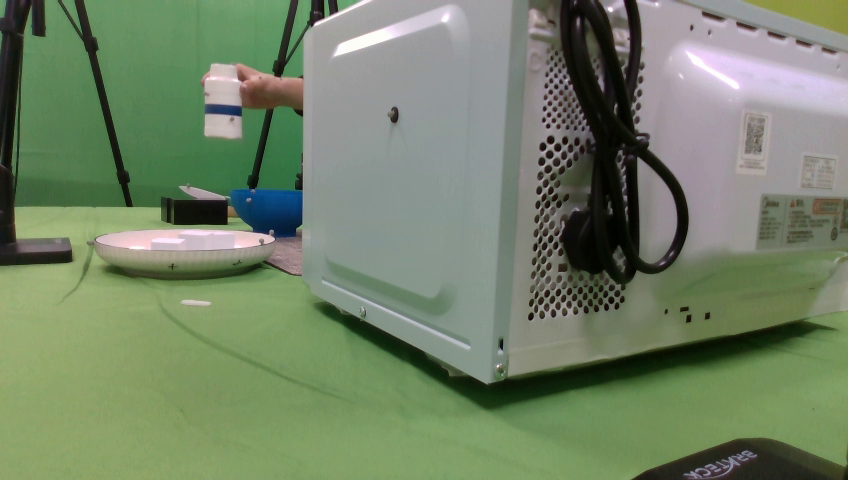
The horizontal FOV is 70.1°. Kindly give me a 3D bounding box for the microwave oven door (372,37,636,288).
[{"bbox_3d":[0.110,-0.080,0.686,0.358,0.243,0.039,-2,9,-33],"label":"microwave oven door"}]

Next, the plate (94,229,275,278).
[{"bbox_3d":[-0.291,0.016,0.750,0.208,0.039,0.207,2,7,0],"label":"plate"}]

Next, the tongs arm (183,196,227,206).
[{"bbox_3d":[-0.404,-0.081,1.479,0.385,0.026,0.050,3,8,-2],"label":"tongs arm"}]

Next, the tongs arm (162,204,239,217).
[{"bbox_3d":[-0.396,-0.066,1.399,0.389,0.028,0.028,1,5,-15],"label":"tongs arm"}]

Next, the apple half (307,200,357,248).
[{"bbox_3d":[-0.135,-0.024,0.941,0.053,0.074,0.081,13,8,38],"label":"apple half"}]

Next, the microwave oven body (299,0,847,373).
[{"bbox_3d":[0.152,-0.055,0.542,0.444,0.260,0.324,-2,7,-33],"label":"microwave oven body"}]

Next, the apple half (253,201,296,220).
[{"bbox_3d":[-0.264,-0.053,1.066,0.081,0.033,0.081,1,8,0],"label":"apple half"}]

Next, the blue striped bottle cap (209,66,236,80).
[{"bbox_3d":[-0.348,-0.287,1.045,0.044,0.020,0.044,7,11,-1],"label":"blue striped bottle cap"}]

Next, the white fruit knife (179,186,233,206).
[{"bbox_3d":[-0.413,-0.081,1.270,0.208,0.027,0.016,17,13,-41],"label":"white fruit knife"}]

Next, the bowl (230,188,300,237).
[{"bbox_3d":[-0.264,-0.048,1.065,0.151,0.077,0.151,3,8,0],"label":"bowl"}]

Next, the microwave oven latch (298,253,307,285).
[{"bbox_3d":[-0.081,0.027,0.582,0.079,0.029,0.030,-2,7,-33],"label":"microwave oven latch"}]

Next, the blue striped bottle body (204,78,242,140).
[{"bbox_3d":[-0.349,-0.236,1.053,0.063,0.121,0.063,3,9,0],"label":"blue striped bottle body"}]
